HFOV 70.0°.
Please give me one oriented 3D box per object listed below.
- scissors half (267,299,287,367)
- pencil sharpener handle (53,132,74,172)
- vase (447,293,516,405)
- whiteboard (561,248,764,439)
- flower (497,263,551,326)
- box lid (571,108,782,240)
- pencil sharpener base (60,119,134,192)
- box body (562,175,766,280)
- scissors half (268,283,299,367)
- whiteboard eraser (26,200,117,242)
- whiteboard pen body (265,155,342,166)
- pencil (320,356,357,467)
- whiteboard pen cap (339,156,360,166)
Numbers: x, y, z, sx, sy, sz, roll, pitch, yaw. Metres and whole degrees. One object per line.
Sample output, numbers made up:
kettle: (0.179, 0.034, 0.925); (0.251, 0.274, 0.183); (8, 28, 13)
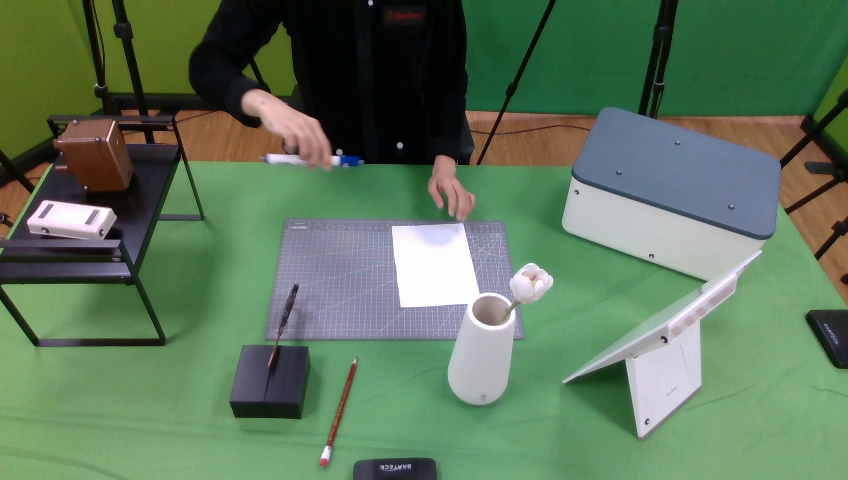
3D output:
scissors half: (-0.239, 0.150, 0.997); (0.013, 0.040, 0.174); (24, 24, -13)
pencil sharpener handle: (-0.578, -0.138, 0.961); (0.031, 0.068, 0.036); (-4, 34, -7)
vase: (0.091, 0.169, 0.921); (0.098, 0.201, 0.097); (3, 47, -3)
whiteboard: (0.386, 0.176, 0.905); (0.217, 0.306, 0.143); (-26, 72, -27)
flower: (0.103, 0.121, 0.853); (0.044, 0.363, 0.038); (-1, 64, -9)
box lid: (0.491, -0.139, 1.168); (0.370, 0.015, 0.262); (21, 49, 15)
pencil sharpener base: (-0.528, -0.135, 0.979); (0.077, 0.107, 0.061); (-4, 47, -7)
box body: (0.486, -0.088, 1.222); (0.363, 0.161, 0.253); (20, 48, 15)
scissors half: (-0.230, 0.135, 0.986); (0.013, 0.040, 0.174); (19, 43, -10)
whiteboard eraser: (-0.532, -0.026, 0.919); (0.113, 0.042, 0.055); (7, 45, 3)
whiteboard pen body: (-0.178, -0.126, 0.956); (0.141, 0.017, 0.017); (0, 47, -4)
pencil: (-0.130, 0.261, 0.946); (0.012, 0.012, 0.193); (10, 45, 5)
whiteboard pen cap: (-0.119, -0.126, 0.962); (0.033, 0.018, 0.018); (0, 47, -4)
